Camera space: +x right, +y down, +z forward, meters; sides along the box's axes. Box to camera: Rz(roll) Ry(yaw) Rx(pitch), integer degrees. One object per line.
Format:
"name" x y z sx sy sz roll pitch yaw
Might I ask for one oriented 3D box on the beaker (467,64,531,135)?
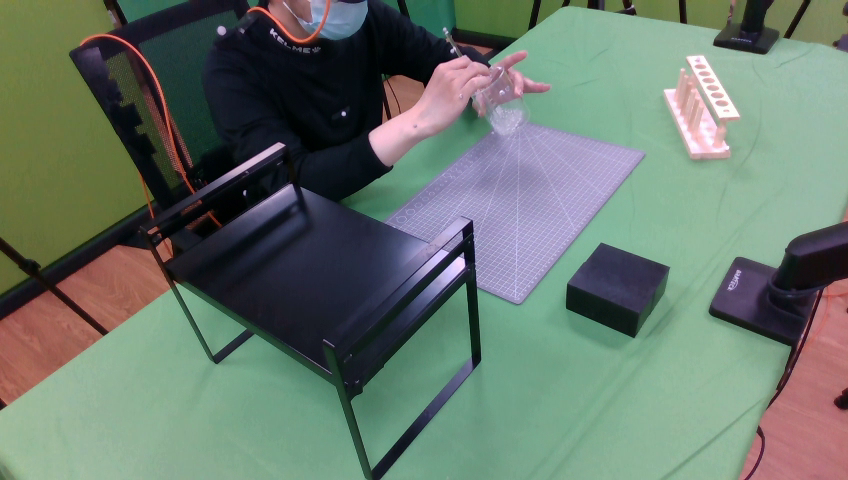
"beaker" 0.133 -0.238 1.036 0.084 0.101 0.073 -51 30 -18

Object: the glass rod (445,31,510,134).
"glass rod" 0.090 -0.258 1.001 0.008 0.201 0.008 -31 22 14

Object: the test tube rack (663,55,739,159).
"test tube rack" 0.517 -0.256 1.144 0.066 0.085 0.241 -1 41 8
